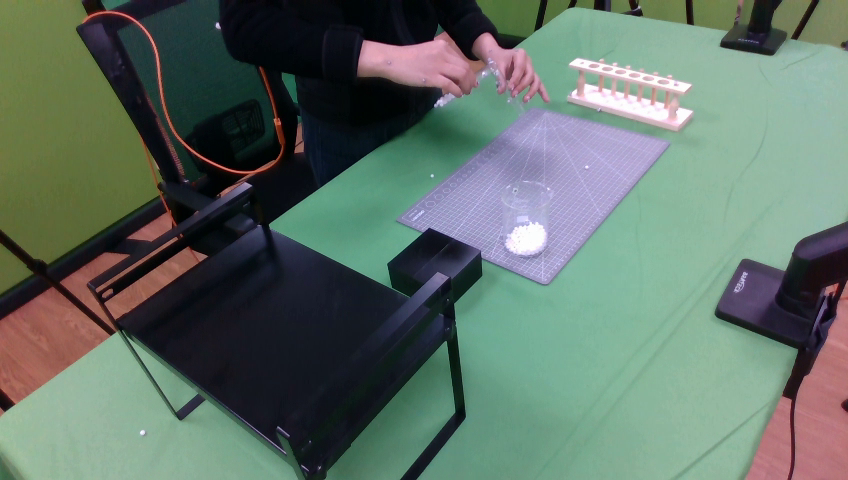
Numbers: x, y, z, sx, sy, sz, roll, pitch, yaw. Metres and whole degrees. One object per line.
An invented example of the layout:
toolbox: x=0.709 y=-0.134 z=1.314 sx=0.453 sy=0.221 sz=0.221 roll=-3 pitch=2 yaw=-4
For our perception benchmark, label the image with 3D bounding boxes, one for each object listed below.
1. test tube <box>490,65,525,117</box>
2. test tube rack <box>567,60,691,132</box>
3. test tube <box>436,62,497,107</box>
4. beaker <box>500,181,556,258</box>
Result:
test tube: x=0.150 y=-0.262 z=1.078 sx=0.017 sy=0.152 sz=0.017 roll=-11 pitch=64 yaw=25
test tube rack: x=0.411 y=-0.299 z=1.217 sx=0.240 sy=0.085 sz=0.067 roll=26 pitch=51 yaw=34
test tube: x=0.070 y=-0.252 z=0.976 sx=0.017 sy=0.017 sz=0.150 roll=25 pitch=50 yaw=32
beaker: x=0.159 y=-0.030 z=0.922 sx=0.084 sy=0.100 sz=0.073 roll=-13 pitch=41 yaw=-8
